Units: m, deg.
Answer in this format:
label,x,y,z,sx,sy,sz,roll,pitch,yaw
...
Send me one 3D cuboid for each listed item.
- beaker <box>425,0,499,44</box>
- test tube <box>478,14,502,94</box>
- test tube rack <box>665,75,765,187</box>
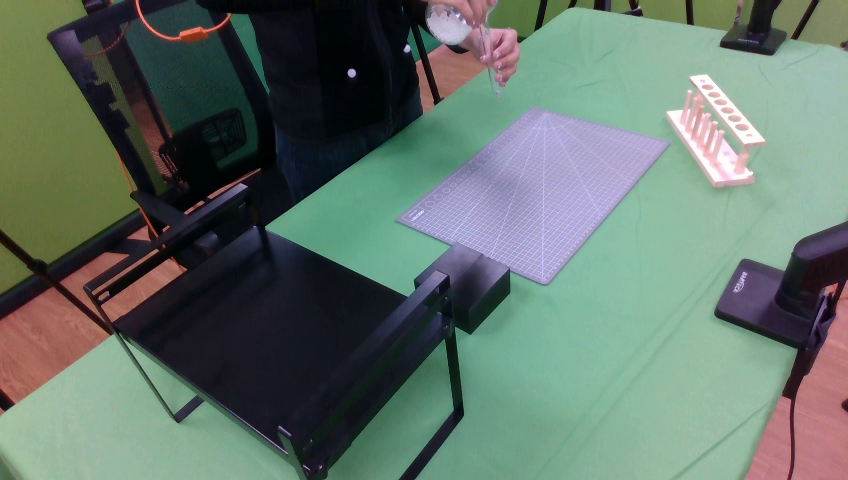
label,x,y,z,sx,sy,sz,roll,pitch,yaw
beaker,0.055,-0.335,0.874,0.073,0.084,0.100,18,55,32
test tube,0.108,-0.297,0.981,0.017,0.151,0.017,-9,53,12
test tube rack,0.512,-0.201,1.082,0.067,0.085,0.241,-6,41,2
